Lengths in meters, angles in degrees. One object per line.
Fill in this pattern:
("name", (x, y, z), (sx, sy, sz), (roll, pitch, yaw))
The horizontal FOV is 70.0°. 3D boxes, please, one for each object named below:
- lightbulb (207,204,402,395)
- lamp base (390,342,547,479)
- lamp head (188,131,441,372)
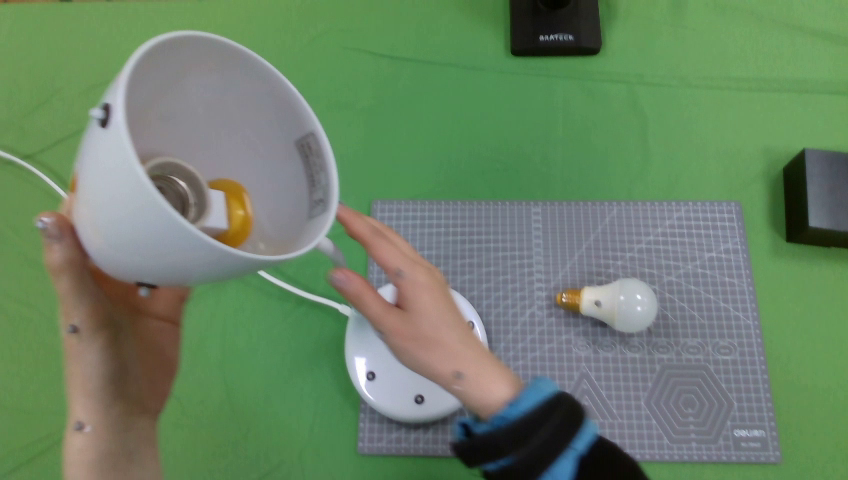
("lightbulb", (-0.057, 0.030, 0.269), (0.108, 0.060, 0.059), (-43, 69, 10))
("lamp base", (0.037, 0.159, 0.605), (0.179, 0.182, 0.159), (8, 68, 11))
("lamp head", (-0.065, 0.020, 0.316), (0.113, 0.123, 0.111), (19, 56, -32))
